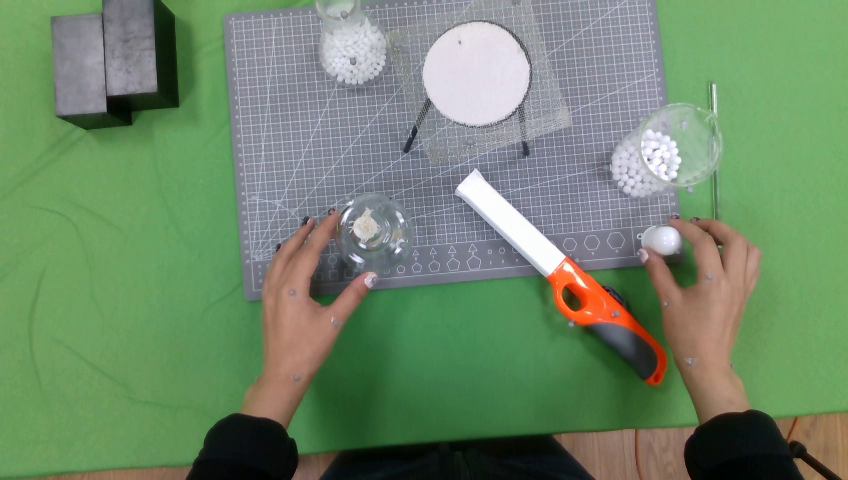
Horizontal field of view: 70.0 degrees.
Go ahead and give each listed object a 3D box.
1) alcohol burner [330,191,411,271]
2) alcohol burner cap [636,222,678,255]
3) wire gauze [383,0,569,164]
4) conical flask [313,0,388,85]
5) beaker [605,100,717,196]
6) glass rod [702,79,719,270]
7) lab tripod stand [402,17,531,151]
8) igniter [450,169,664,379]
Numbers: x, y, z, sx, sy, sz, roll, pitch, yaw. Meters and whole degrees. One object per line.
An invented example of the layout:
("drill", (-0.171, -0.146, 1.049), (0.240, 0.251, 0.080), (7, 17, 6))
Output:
("alcohol burner", (-0.052, -0.010, 0.565), (0.078, 0.119, 0.077), (0, 85, 2))
("alcohol burner cap", (0.231, -0.003, 0.593), (0.034, 0.048, 0.034), (0, 88, 1))
("wire gauze", (0.042, -0.135, 0.494), (0.125, 0.011, 0.121), (-18, 87, 0))
("conical flask", (-0.075, -0.199, 0.570), (0.075, 0.122, 0.075), (0, 86, 1))
("beaker", (0.222, -0.084, 0.576), (0.084, 0.100, 0.074), (-42, 87, -3))
("glass rod", (0.295, -0.068, 0.624), (0.008, 0.008, 0.199), (-2, 87, 0))
("lab tripod stand", (0.041, -0.132, 0.561), (0.148, 0.131, 0.148), (0, 89, 1))
("igniter", (0.136, 0.033, 0.608), (0.276, 0.025, 0.057), (43, 72, 2))
